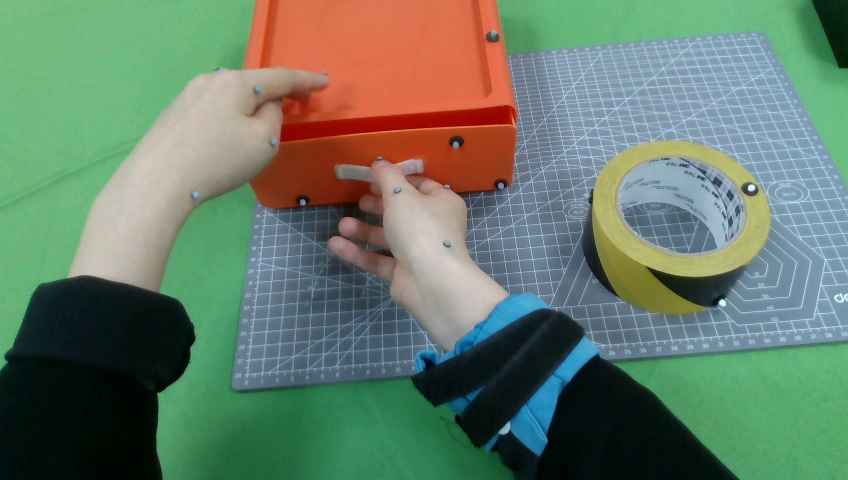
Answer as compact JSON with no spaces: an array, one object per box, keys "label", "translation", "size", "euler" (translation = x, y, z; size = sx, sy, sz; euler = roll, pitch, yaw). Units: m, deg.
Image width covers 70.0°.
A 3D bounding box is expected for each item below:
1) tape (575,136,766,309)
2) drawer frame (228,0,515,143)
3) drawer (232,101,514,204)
[{"label":"tape","translation":[0.166,-0.012,0.413],"size":[0.117,0.053,0.116],"euler":[-2,58,4]},{"label":"drawer frame","translation":[-0.040,-0.152,0.499],"size":[0.202,0.083,0.211],"euler":[-5,57,1]},{"label":"drawer","translation":[-0.038,-0.137,0.489],"size":[0.194,0.074,0.209],"euler":[-5,57,2]}]
